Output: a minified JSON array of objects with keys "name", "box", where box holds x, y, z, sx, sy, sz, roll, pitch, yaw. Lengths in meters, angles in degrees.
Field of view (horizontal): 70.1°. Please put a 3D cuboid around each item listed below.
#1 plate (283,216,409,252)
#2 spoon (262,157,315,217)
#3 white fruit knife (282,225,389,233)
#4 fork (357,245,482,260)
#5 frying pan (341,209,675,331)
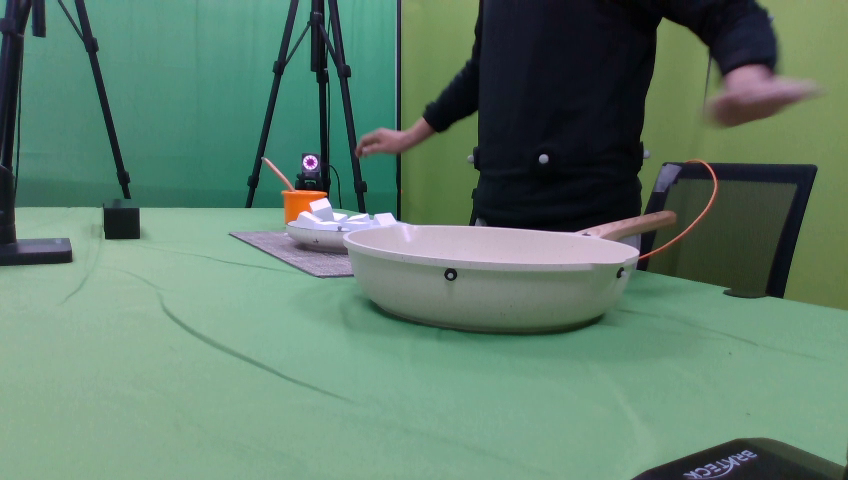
[{"name":"plate","box":[-0.119,-0.009,0.968,0.208,0.039,0.207,2,7,0]},{"name":"spoon","box":[-0.276,-0.103,1.251,0.021,0.193,0.042,-43,-15,22]},{"name":"white fruit knife","box":[-0.162,-0.018,1.120,0.208,0.016,0.027,-3,4,-34]},{"name":"fork","box":[0.000,0.017,0.866,0.208,0.018,0.028,-4,-2,-33]},{"name":"frying pan","box":[0.144,0.008,0.677,0.490,0.102,0.305,-13,16,-36]}]
